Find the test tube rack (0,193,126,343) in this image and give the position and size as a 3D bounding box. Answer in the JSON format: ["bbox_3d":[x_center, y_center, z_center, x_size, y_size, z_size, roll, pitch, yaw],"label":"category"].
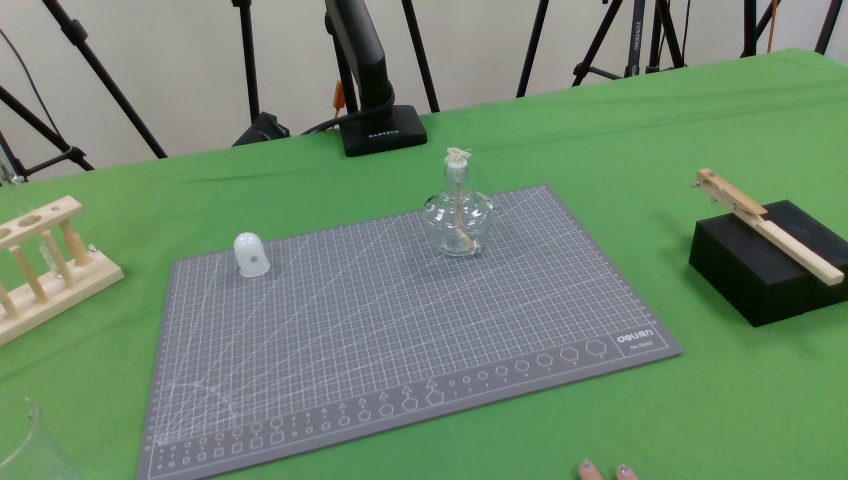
[{"bbox_3d":[-0.438,0.052,0.596,0.066,0.086,0.242,26,47,35],"label":"test tube rack"}]

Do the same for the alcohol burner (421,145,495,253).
[{"bbox_3d":[0.035,-0.046,0.630,0.078,0.120,0.077,-2,37,2],"label":"alcohol burner"}]

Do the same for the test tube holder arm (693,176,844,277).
[{"bbox_3d":[0.310,-0.020,0.558,0.015,0.013,0.176,-13,36,-10],"label":"test tube holder arm"}]

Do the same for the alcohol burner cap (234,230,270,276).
[{"bbox_3d":[-0.186,0.011,0.645,0.034,0.048,0.033,-4,37,3],"label":"alcohol burner cap"}]

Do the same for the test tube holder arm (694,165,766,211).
[{"bbox_3d":[0.297,-0.049,0.590,0.015,0.010,0.087,-13,37,-11],"label":"test tube holder arm"}]

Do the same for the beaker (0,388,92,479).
[{"bbox_3d":[-0.281,0.163,0.412,0.084,0.101,0.073,-8,36,0],"label":"beaker"}]

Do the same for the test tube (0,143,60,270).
[{"bbox_3d":[-0.406,-0.032,0.620,0.017,0.151,0.017,-6,33,4],"label":"test tube"}]
